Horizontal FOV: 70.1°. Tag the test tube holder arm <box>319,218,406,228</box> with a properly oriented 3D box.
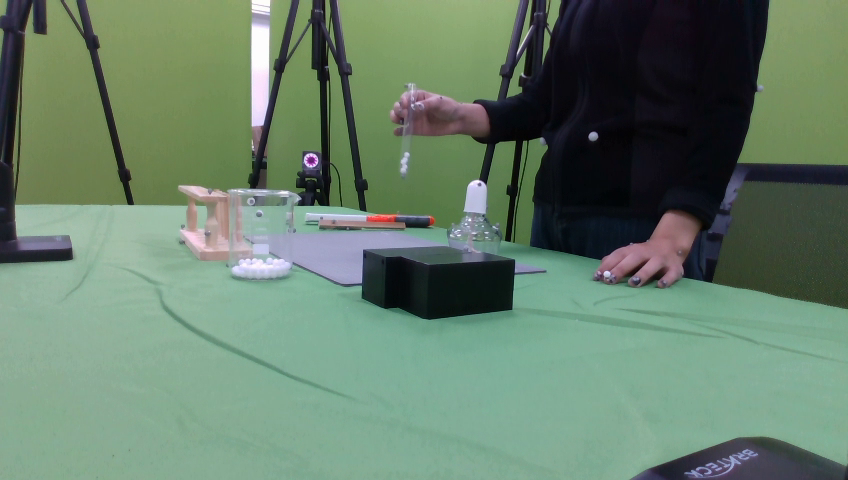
[{"bbox_3d":[-0.122,-0.033,1.214,0.179,0.015,0.013,1,-23,-20],"label":"test tube holder arm"}]

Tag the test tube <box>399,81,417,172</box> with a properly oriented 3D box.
[{"bbox_3d":[-0.025,-0.180,0.957,0.017,0.150,0.017,5,-11,1],"label":"test tube"}]

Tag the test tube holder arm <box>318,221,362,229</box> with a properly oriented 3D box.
[{"bbox_3d":[-0.166,-0.031,1.203,0.088,0.015,0.010,0,-22,-20],"label":"test tube holder arm"}]

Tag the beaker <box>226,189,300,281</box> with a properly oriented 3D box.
[{"bbox_3d":[-0.184,-0.007,0.694,0.084,0.100,0.073,-1,8,-29],"label":"beaker"}]

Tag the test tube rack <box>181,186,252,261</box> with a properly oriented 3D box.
[{"bbox_3d":[-0.312,-0.031,0.893,0.067,0.085,0.241,-1,8,-27],"label":"test tube rack"}]

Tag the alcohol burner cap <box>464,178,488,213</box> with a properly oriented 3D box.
[{"bbox_3d":[0.073,-0.060,0.824,0.034,0.048,0.034,6,3,0],"label":"alcohol burner cap"}]

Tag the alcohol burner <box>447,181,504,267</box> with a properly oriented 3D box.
[{"bbox_3d":[0.070,-0.024,0.828,0.078,0.119,0.078,1,6,0],"label":"alcohol burner"}]

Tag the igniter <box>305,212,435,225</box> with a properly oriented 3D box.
[{"bbox_3d":[-0.113,-0.046,1.299,0.277,0.025,0.057,1,-3,-12],"label":"igniter"}]
